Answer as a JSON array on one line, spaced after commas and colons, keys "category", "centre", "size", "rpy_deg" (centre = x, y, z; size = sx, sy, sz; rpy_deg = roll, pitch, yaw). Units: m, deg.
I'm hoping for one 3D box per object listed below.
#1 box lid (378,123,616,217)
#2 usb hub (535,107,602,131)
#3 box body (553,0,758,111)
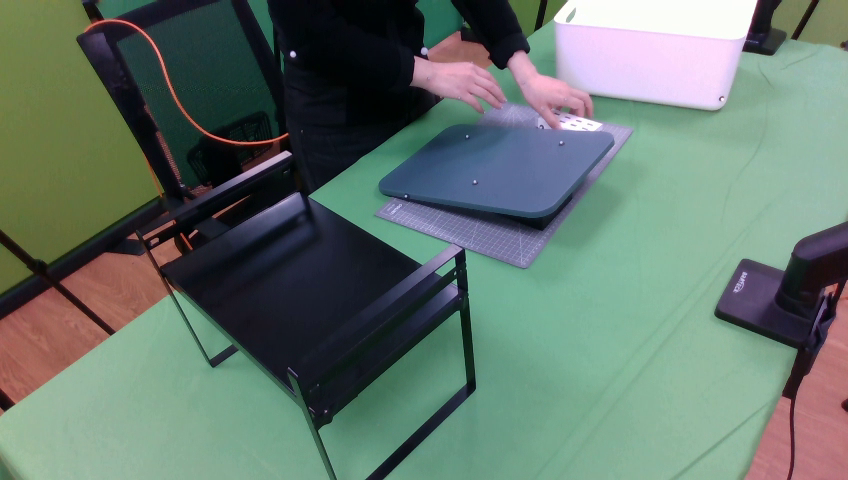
[{"category": "box lid", "centre": [0.118, -0.136, 1.071], "size": [0.368, 0.015, 0.264], "rpy_deg": [12, 42, 38]}, {"category": "usb hub", "centre": [0.283, -0.225, 1.187], "size": [0.124, 0.025, 0.049], "rpy_deg": [28, 53, 34]}, {"category": "box body", "centre": [0.480, -0.417, 1.282], "size": [0.362, 0.161, 0.254], "rpy_deg": [15, 46, 24]}]
